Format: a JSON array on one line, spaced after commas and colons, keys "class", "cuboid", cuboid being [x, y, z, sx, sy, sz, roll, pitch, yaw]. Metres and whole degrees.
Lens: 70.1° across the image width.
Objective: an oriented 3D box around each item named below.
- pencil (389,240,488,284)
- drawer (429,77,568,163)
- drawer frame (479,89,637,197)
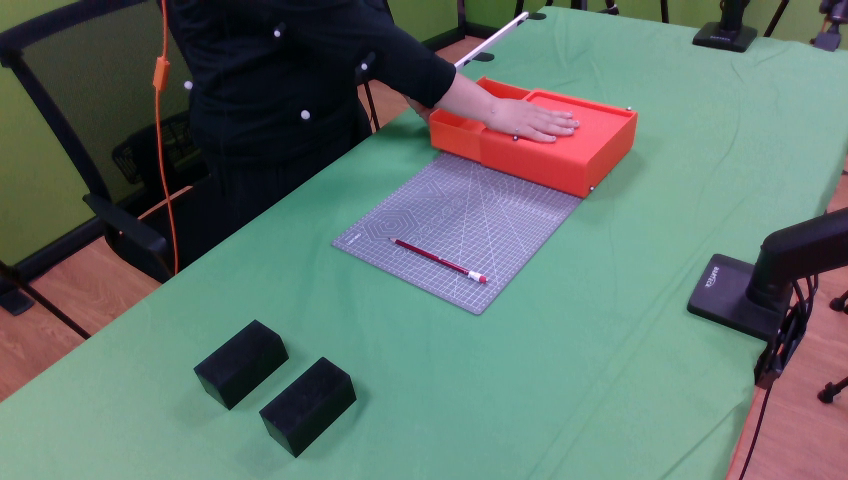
[{"class": "pencil", "cuboid": [0.017, 0.030, 0.938, 0.192, 0.012, 0.012, 22, 48, 32]}, {"class": "drawer", "cuboid": [0.149, -0.223, 1.159, 0.210, 0.073, 0.195, 24, 48, 29]}, {"class": "drawer frame", "cuboid": [0.243, -0.183, 1.102, 0.212, 0.083, 0.202, 23, 47, 31]}]
